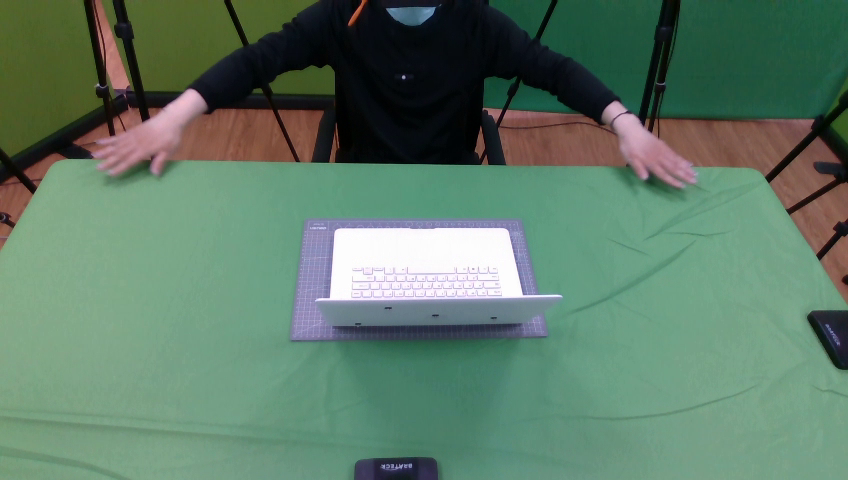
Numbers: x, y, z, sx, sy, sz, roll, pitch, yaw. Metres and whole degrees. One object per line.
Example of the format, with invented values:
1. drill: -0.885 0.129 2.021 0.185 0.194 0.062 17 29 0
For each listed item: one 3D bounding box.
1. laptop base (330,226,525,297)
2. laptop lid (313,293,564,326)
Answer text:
1. laptop base: 0.005 0.061 1.136 0.355 0.023 0.234 -1 43 -4
2. laptop lid: 0.017 0.112 0.945 0.357 0.242 0.013 0 74 -5
